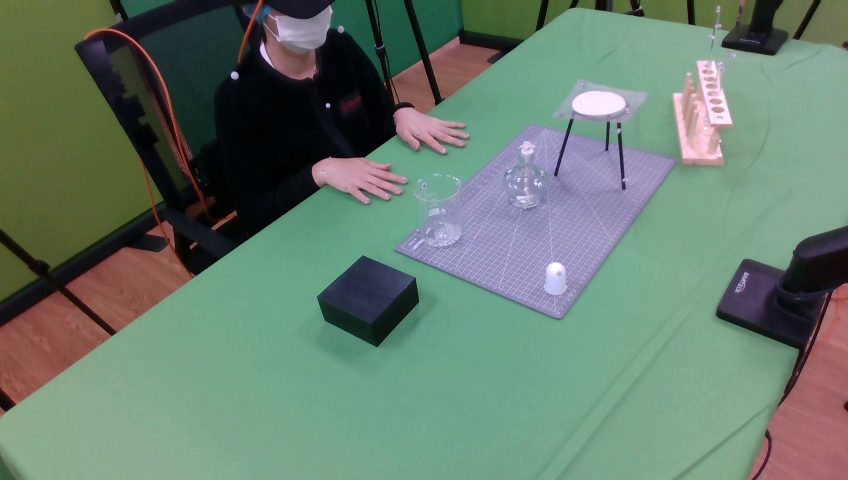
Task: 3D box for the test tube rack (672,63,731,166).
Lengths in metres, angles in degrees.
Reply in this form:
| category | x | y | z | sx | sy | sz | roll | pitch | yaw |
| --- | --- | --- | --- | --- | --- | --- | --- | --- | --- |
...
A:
| category | x | y | z | sx | sy | sz | roll | pitch | yaw |
| --- | --- | --- | --- | --- | --- | --- | --- | --- | --- |
| test tube rack | 0.513 | -0.240 | 1.132 | 0.066 | 0.085 | 0.242 | 4 | 41 | 14 |

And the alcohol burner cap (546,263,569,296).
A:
| category | x | y | z | sx | sy | sz | roll | pitch | yaw |
| --- | --- | --- | --- | --- | --- | --- | --- | --- | --- |
| alcohol burner cap | 0.191 | 0.053 | 0.862 | 0.034 | 0.048 | 0.033 | -5 | 40 | 4 |

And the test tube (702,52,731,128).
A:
| category | x | y | z | sx | sy | sz | roll | pitch | yaw |
| --- | --- | --- | --- | --- | --- | --- | --- | --- | --- |
| test tube | 0.522 | -0.266 | 1.082 | 0.017 | 0.151 | 0.017 | -3 | 44 | 4 |

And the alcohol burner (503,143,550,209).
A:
| category | x | y | z | sx | sy | sz | roll | pitch | yaw |
| --- | --- | --- | --- | --- | --- | --- | --- | --- | --- |
| alcohol burner | 0.171 | -0.111 | 1.007 | 0.078 | 0.119 | 0.077 | -3 | 41 | 3 |

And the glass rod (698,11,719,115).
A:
| category | x | y | z | sx | sy | sz | roll | pitch | yaw |
| --- | --- | --- | --- | --- | --- | --- | --- | --- | --- |
| glass rod | 0.529 | -0.324 | 1.125 | 0.008 | 0.200 | 0.008 | -5 | 37 | 5 |

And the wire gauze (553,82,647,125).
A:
| category | x | y | z | sx | sy | sz | roll | pitch | yaw |
| --- | --- | --- | --- | --- | --- | --- | --- | --- | --- |
| wire gauze | 0.293 | -0.225 | 1.003 | 0.120 | 0.011 | 0.125 | 17 | 45 | 27 |

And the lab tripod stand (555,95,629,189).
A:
| category | x | y | z | sx | sy | sz | roll | pitch | yaw |
| --- | --- | --- | --- | --- | --- | --- | --- | --- | --- |
| lab tripod stand | 0.300 | -0.174 | 1.045 | 0.148 | 0.132 | 0.147 | -5 | 38 | 5 |

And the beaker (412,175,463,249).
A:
| category | x | y | z | sx | sy | sz | roll | pitch | yaw |
| --- | --- | --- | --- | --- | --- | --- | --- | --- | --- |
| beaker | 0.027 | -0.043 | 0.960 | 0.084 | 0.101 | 0.073 | -25 | 43 | -20 |
